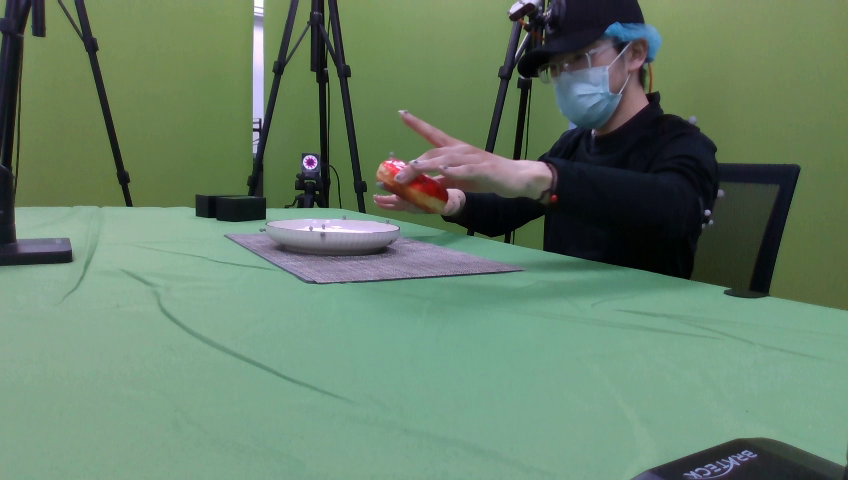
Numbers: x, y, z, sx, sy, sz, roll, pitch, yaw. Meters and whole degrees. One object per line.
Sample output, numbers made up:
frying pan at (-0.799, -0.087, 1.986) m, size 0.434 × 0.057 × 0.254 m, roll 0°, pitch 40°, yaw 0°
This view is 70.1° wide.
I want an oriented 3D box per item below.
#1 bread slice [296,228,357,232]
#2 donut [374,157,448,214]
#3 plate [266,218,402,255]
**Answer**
bread slice at (-0.142, -0.004, 0.939) m, size 0.131 × 0.019 × 0.105 m, roll 8°, pitch 9°, yaw 33°
donut at (-0.017, -0.069, 0.756) m, size 0.099 × 0.048 × 0.099 m, roll 30°, pitch 6°, yaw -3°
plate at (-0.138, -0.006, 0.941) m, size 0.208 × 0.039 × 0.207 m, roll 2°, pitch 7°, yaw 0°
